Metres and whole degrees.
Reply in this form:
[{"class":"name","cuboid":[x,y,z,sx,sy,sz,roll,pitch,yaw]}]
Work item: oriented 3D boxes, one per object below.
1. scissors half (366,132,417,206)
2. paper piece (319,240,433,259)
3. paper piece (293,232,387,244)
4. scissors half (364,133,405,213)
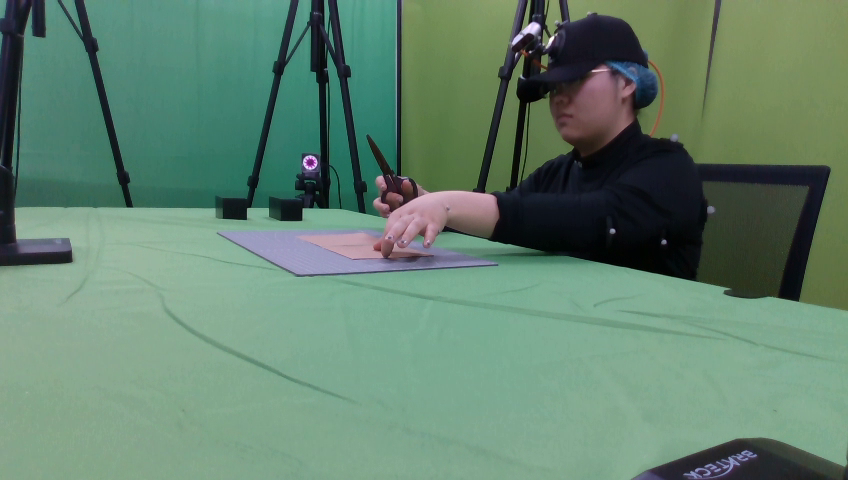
[{"class":"scissors half","cuboid":[-0.059,-0.129,1.103,0.040,0.176,0.013,-41,37,-5]},{"class":"paper piece","cuboid":[-0.075,0.016,0.933,0.137,0.008,0.137,-5,10,-29]},{"class":"paper piece","cuboid":[-0.142,-0.003,1.048,0.136,0.004,0.135,-2,8,-29]},{"class":"scissors half","cuboid":[-0.076,-0.119,1.100,0.040,0.175,0.012,-26,35,-10]}]
